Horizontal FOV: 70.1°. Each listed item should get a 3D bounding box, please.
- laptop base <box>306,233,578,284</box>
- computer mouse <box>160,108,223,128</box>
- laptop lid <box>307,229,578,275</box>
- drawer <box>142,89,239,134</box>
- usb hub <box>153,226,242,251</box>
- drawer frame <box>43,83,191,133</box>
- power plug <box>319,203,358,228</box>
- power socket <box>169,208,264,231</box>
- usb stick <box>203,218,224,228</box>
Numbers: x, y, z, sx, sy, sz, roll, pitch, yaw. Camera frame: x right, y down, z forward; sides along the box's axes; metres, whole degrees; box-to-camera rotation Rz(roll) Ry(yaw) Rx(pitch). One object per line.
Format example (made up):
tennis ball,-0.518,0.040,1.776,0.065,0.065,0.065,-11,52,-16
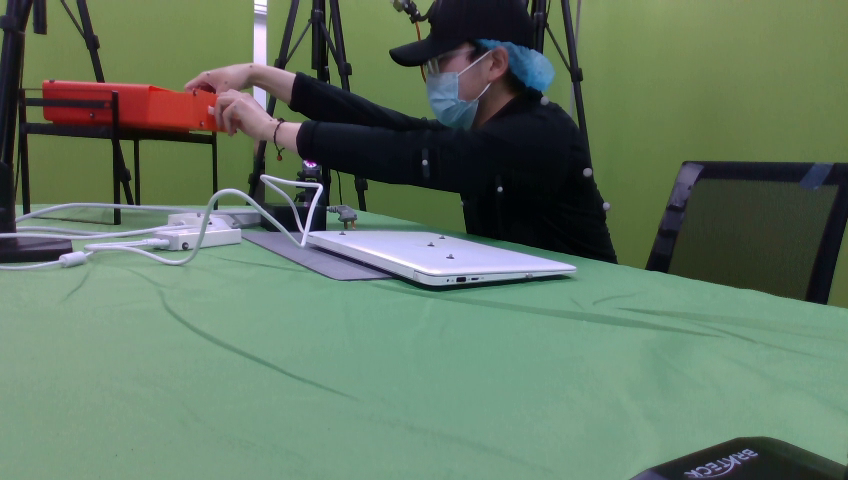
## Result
laptop base,0.007,0.022,0.850,0.237,0.023,0.352,1,7,-34
computer mouse,-0.469,-0.246,1.224,0.062,0.041,0.118,9,18,32
laptop lid,0.009,0.010,0.850,0.243,0.013,0.355,0,8,-32
drawer,-0.508,-0.257,1.211,0.212,0.073,0.194,3,8,7
usb hub,-0.337,-0.003,0.907,0.049,0.025,0.125,6,9,28
drawer frame,-0.597,-0.264,1.218,0.213,0.082,0.201,2,8,4
power plug,-0.168,-0.045,1.206,0.072,0.052,0.035,-10,-11,0
power socket,-0.381,-0.038,1.128,0.072,0.032,0.227,4,8,16
usb stick,-0.346,-0.020,1.008,0.027,0.021,0.059,43,-6,1
